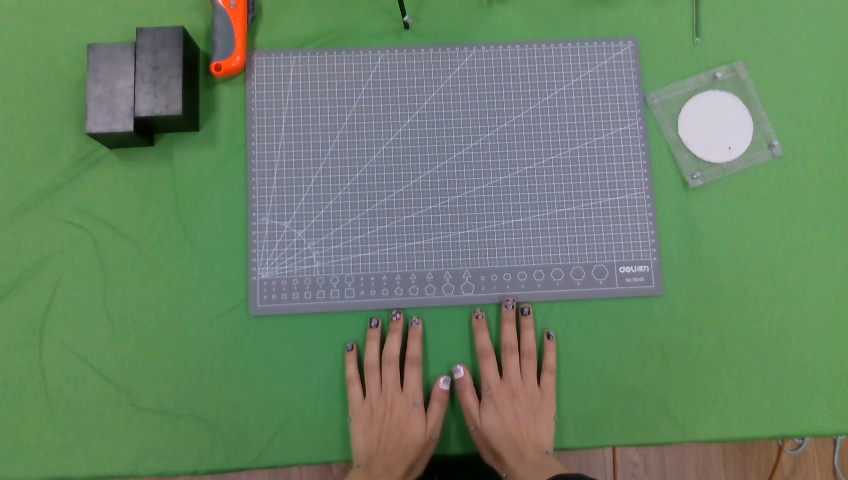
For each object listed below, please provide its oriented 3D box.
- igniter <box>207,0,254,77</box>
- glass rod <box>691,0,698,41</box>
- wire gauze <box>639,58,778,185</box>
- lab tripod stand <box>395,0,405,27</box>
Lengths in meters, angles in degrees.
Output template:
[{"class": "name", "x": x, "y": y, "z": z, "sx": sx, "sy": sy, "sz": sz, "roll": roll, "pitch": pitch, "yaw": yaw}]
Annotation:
[{"class": "igniter", "x": -0.225, "y": -0.318, "z": 0.695, "sx": 0.057, "sy": 0.025, "sz": 0.275, "roll": 0, "pitch": 81, "yaw": -17}, {"class": "glass rod", "x": 0.321, "y": -0.332, "z": 0.722, "sx": 0.008, "sy": 0.008, "sz": 0.199, "roll": 2, "pitch": 82, "yaw": -1}, {"class": "wire gauze", "x": 0.328, "y": -0.136, "z": 0.694, "sx": 0.125, "sy": 0.011, "sz": 0.121, "roll": -20, "pitch": 83, "yaw": -2}, {"class": "lab tripod stand", "x": -0.065, "y": -0.318, "z": 0.647, "sx": 0.148, "sy": 0.132, "sz": 0.148, "roll": 0, "pitch": 80, "yaw": 0}]
